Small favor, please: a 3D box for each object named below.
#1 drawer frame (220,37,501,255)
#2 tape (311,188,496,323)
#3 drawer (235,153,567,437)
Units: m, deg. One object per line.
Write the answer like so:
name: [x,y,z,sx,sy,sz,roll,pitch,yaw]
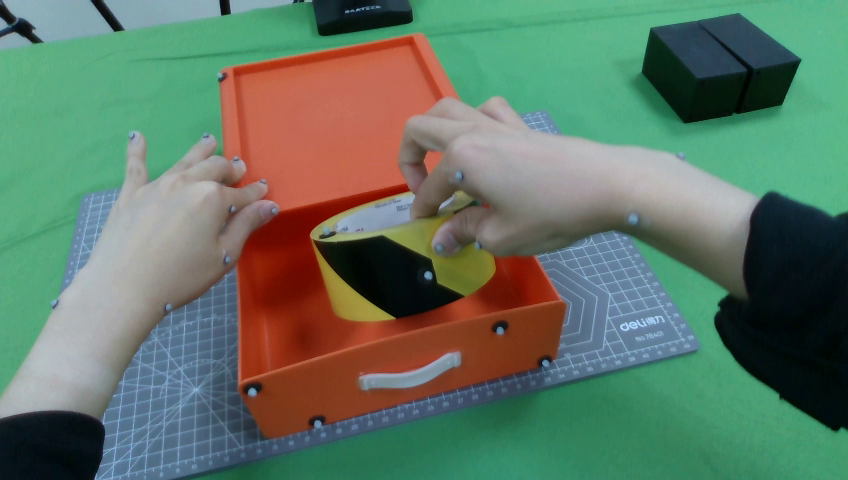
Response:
drawer frame: [-0.064,-0.076,0.521,0.202,0.083,0.211,-14,46,-8]
tape: [-0.013,0.006,0.390,0.117,0.053,0.116,-13,14,4]
drawer: [-0.031,0.013,0.435,0.195,0.074,0.209,-14,46,-7]
